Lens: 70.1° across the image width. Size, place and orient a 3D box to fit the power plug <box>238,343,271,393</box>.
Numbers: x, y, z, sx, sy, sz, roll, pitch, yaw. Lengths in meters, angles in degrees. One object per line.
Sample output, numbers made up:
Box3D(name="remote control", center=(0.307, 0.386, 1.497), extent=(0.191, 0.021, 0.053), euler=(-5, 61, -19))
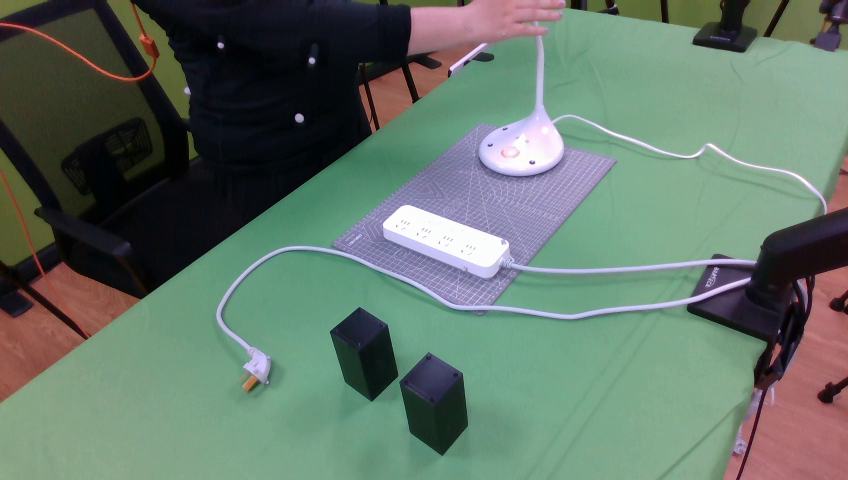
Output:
Box3D(name="power plug", center=(-0.230, 0.172, 0.800), extent=(0.072, 0.035, 0.053), euler=(8, 50, 48))

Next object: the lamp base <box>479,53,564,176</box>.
Box3D(name="lamp base", center=(0.181, -0.235, 1.093), extent=(0.159, 0.181, 0.179), euler=(18, 44, 27))

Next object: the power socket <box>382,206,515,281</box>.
Box3D(name="power socket", center=(0.032, 0.002, 0.950), extent=(0.225, 0.033, 0.072), euler=(21, 49, 29))
